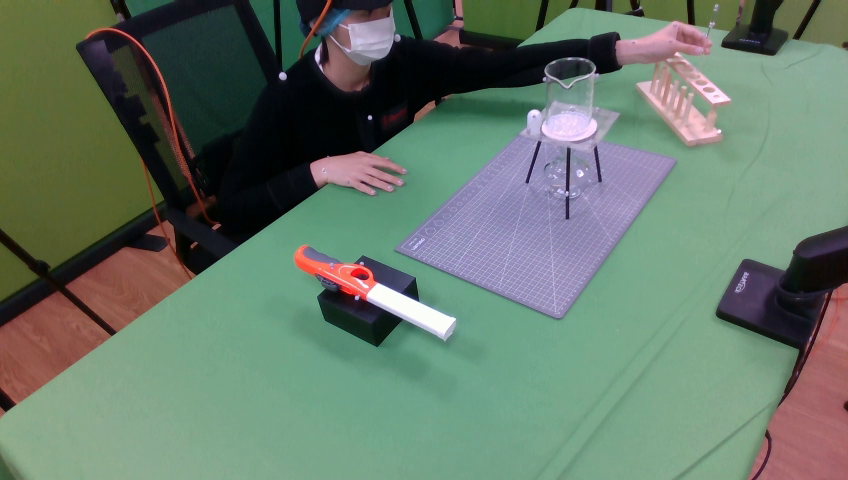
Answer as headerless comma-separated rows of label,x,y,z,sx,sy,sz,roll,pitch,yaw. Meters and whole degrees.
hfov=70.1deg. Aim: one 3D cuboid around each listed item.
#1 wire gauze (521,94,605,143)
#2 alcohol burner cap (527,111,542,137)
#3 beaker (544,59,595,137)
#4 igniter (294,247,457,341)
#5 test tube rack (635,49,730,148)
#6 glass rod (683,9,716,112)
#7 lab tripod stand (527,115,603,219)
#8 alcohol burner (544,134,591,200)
wire gauze,0.220,-0.190,0.949,0.121,0.011,0.125,7,46,14
alcohol burner cap,0.221,-0.233,1.200,0.034,0.048,0.033,-6,41,6
beaker,0.222,-0.214,0.926,0.074,0.101,0.084,3,42,16
igniter,-0.077,0.068,0.831,0.274,0.025,0.057,22,48,27
test tube rack,0.497,-0.283,1.184,0.067,0.085,0.240,-10,40,-2
glass rod,0.516,-0.332,1.137,0.008,0.200,0.008,0,40,0
lab tripod stand,0.235,-0.129,1.002,0.148,0.132,0.147,-6,40,6
alcohol burner,0.241,-0.127,1.014,0.078,0.119,0.077,-5,41,5
